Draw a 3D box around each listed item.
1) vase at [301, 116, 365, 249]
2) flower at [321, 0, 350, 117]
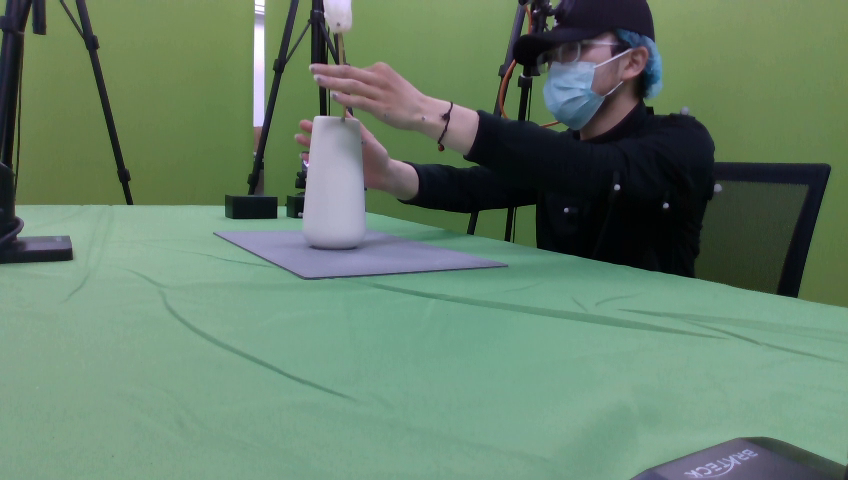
[{"bbox_3d":[-0.139,-0.088,0.931,0.098,0.200,0.098,2,9,0],"label":"vase"},{"bbox_3d":[-0.124,-0.191,0.930,0.038,0.361,0.044,5,12,42],"label":"flower"}]
